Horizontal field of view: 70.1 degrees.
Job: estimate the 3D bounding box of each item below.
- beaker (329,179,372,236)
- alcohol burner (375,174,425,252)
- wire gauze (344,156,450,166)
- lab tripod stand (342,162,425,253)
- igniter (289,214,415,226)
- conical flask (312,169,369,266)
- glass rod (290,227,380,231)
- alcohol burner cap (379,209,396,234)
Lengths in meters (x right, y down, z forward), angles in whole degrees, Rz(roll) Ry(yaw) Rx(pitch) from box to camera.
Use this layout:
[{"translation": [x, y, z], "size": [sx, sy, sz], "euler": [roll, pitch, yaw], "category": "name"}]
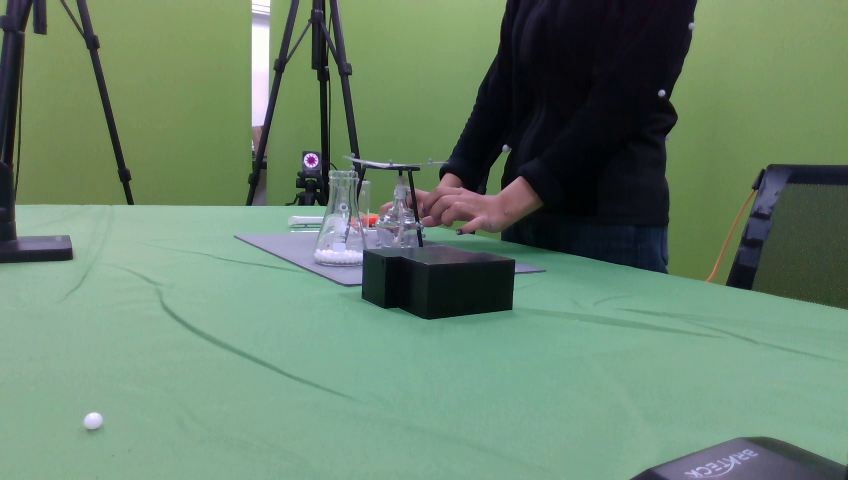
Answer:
[{"translation": [-0.137, -0.061, 1.101], "size": [0.084, 0.100, 0.074], "euler": [4, 7, 20], "category": "beaker"}, {"translation": [-0.036, -0.042, 0.934], "size": [0.078, 0.119, 0.078], "euler": [2, 10, 0], "category": "alcohol burner"}, {"translation": [-0.043, -0.119, 0.924], "size": [0.122, 0.011, 0.124], "euler": [-3, 9, -37], "category": "wire gauze"}, {"translation": [-0.048, -0.052, 0.930], "size": [0.148, 0.131, 0.148], "euler": [4, 7, 0], "category": "lab tripod stand"}, {"translation": [-0.141, -0.042, 1.258], "size": [0.278, 0.025, 0.057], "euler": [-1, -2, -30], "category": "igniter"}, {"translation": [-0.107, -0.031, 0.786], "size": [0.075, 0.122, 0.075], "euler": [2, 8, 0], "category": "conical flask"}, {"translation": [-0.161, -0.023, 1.178], "size": [0.201, 0.008, 0.008], "euler": [-1, 8, -28], "category": "glass rod"}, {"translation": [-0.069, -0.036, 1.154], "size": [0.034, 0.048, 0.034], "euler": [2, 7, 0], "category": "alcohol burner cap"}]
